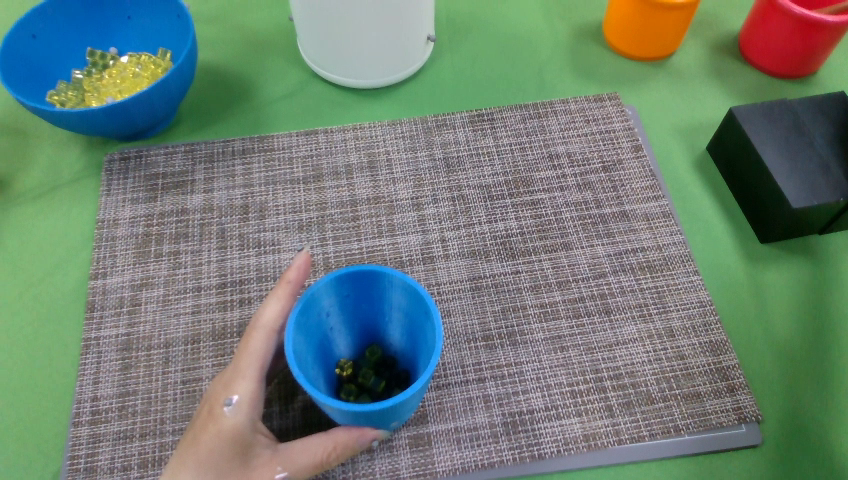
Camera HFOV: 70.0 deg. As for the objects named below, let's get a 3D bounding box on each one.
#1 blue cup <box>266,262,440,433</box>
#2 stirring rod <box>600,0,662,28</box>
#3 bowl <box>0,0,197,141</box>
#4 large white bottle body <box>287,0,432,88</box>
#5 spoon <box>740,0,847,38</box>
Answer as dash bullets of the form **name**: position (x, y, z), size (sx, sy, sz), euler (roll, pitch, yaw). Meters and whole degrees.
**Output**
- **blue cup**: position (-0.035, 0.074, 0.366), size (0.093, 0.101, 0.092), euler (1, 59, -1)
- **stirring rod**: position (0.236, -0.229, 0.532), size (0.175, 0.006, 0.014), euler (-16, 51, 41)
- **bowl**: position (-0.258, -0.137, 0.506), size (0.151, 0.077, 0.150), euler (0, 59, 0)
- **large white bottle body**: position (-0.056, -0.237, 0.505), size (0.130, 0.186, 0.129), euler (1, 59, -1)
- **spoon**: position (0.367, -0.199, 0.512), size (0.041, 0.022, 0.192), euler (-46, 25, -22)
